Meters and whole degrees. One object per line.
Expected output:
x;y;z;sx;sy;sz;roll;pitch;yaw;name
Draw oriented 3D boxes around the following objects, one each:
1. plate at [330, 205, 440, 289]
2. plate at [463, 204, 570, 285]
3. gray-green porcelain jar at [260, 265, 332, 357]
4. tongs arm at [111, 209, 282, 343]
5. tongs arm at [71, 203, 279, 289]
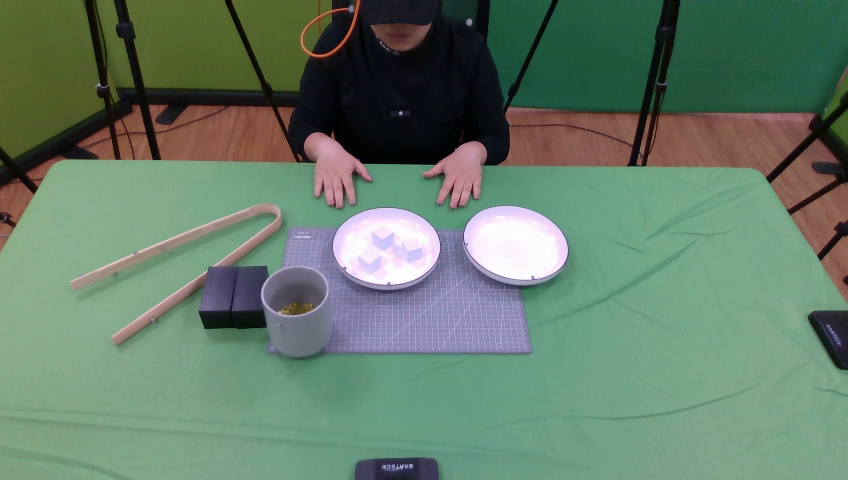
-0.074;0.017;1.160;0.208;0.039;0.206;2;46;-2;plate
0.178;0.011;1.184;0.209;0.038;0.208;3;46;-3;plate
-0.205;0.121;0.990;0.106;0.127;0.105;2;46;-2;gray-green porcelain jar
-0.397;0.056;1.108;0.028;0.028;0.387;27;50;25;tongs arm
-0.454;0.011;1.144;0.385;0.026;0.050;-29;54;-29;tongs arm
